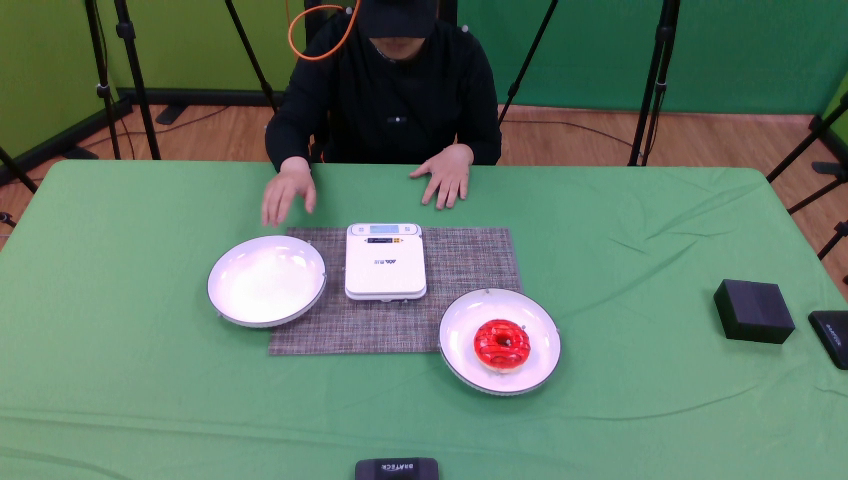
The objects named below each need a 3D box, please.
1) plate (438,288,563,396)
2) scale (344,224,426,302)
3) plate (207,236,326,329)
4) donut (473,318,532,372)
[{"bbox_3d":[0.127,0.173,1.025,0.209,0.038,0.208,3,48,-3],"label":"plate"},{"bbox_3d":[-0.075,0.033,1.149,0.149,0.032,0.199,0,46,-5],"label":"scale"},{"bbox_3d":[-0.278,0.078,1.088,0.208,0.039,0.206,1,46,0],"label":"plate"},{"bbox_3d":[0.131,0.174,1.010,0.099,0.048,0.098,1,48,-1],"label":"donut"}]
